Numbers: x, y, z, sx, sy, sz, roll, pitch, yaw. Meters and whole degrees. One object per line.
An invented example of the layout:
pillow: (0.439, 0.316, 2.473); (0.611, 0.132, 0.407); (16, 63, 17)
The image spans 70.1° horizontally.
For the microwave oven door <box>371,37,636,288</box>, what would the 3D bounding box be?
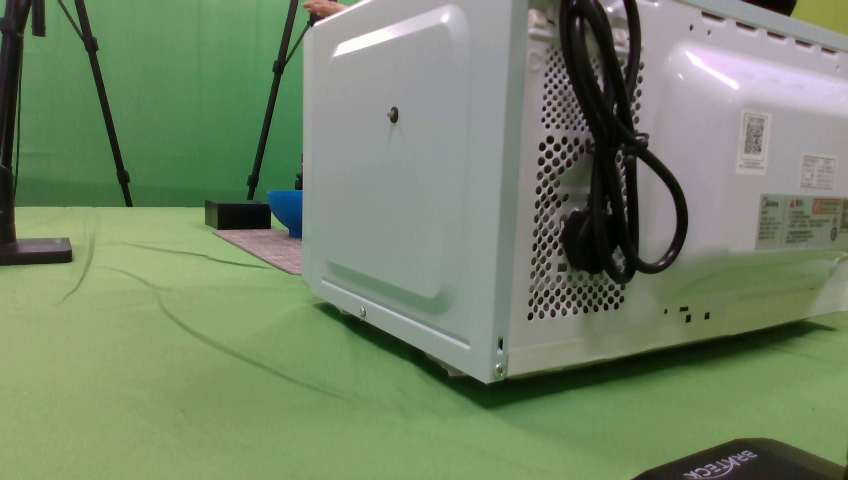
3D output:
microwave oven door: (0.109, -0.080, 0.687); (0.358, 0.243, 0.039); (-2, 9, -33)

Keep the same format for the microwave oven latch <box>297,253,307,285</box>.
microwave oven latch: (-0.082, 0.027, 0.583); (0.079, 0.029, 0.030); (-1, 7, -33)

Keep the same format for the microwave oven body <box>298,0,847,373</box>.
microwave oven body: (0.151, -0.055, 0.543); (0.444, 0.260, 0.324); (-1, 7, -33)

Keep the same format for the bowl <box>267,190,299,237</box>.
bowl: (-0.202, -0.046, 1.069); (0.151, 0.077, 0.151); (3, 7, 0)
